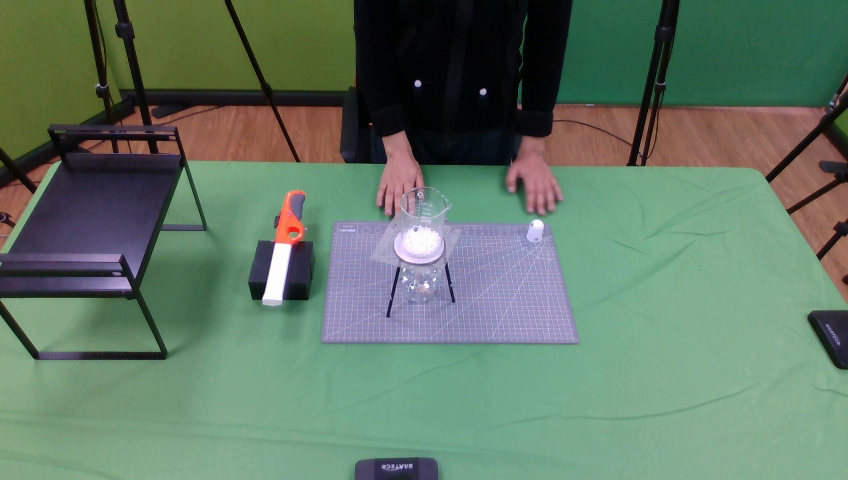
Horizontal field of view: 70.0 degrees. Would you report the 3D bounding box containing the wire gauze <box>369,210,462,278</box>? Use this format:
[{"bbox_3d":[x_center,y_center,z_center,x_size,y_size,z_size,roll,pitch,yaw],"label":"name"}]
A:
[{"bbox_3d":[-0.012,0.007,1.019,0.121,0.011,0.124,16,51,13],"label":"wire gauze"}]

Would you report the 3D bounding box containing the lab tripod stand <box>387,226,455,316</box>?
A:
[{"bbox_3d":[-0.013,0.054,1.064,0.148,0.132,0.147,2,48,-2],"label":"lab tripod stand"}]

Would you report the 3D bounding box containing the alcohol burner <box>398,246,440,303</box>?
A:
[{"bbox_3d":[-0.008,0.056,1.077,0.078,0.119,0.077,3,44,-3],"label":"alcohol burner"}]

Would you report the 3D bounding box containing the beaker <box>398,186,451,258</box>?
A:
[{"bbox_3d":[-0.001,-0.026,0.984,0.084,0.101,0.073,1,48,-3],"label":"beaker"}]

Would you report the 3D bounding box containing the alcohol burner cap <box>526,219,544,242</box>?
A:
[{"bbox_3d":[0.225,-0.021,1.218,0.034,0.048,0.033,1,46,-1],"label":"alcohol burner cap"}]

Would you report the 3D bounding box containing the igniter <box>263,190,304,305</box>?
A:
[{"bbox_3d":[-0.255,0.004,1.107,0.057,0.025,0.274,6,46,-7],"label":"igniter"}]
